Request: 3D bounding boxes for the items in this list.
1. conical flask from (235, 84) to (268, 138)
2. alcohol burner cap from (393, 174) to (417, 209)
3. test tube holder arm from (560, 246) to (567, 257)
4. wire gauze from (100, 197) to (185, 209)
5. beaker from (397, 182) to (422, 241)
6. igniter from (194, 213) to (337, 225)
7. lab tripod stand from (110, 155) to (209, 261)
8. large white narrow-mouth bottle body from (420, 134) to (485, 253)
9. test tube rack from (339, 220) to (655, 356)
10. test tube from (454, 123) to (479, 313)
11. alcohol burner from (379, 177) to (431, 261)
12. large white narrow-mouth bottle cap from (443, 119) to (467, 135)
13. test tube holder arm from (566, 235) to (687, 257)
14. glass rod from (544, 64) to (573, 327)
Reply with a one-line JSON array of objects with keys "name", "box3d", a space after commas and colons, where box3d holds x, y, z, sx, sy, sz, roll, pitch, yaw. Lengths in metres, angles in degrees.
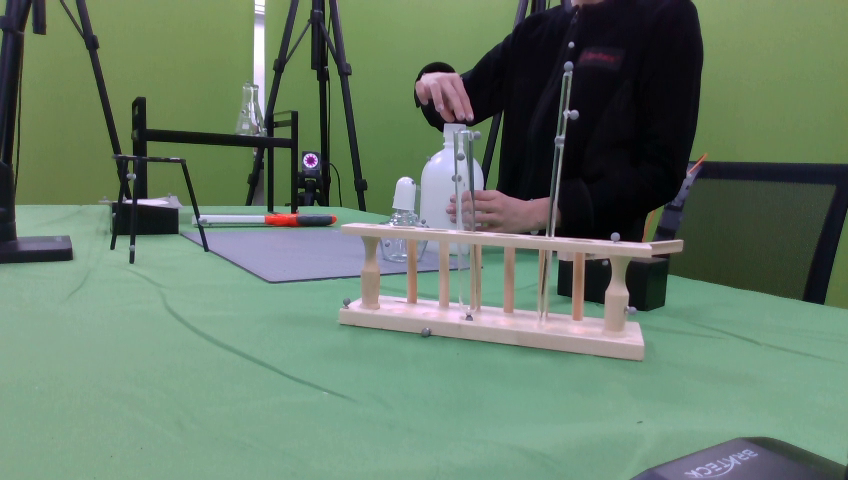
[{"name": "conical flask", "box3d": [-0.402, -0.299, 1.406, 0.075, 0.122, 0.075, 2, 7, 0]}, {"name": "alcohol burner cap", "box3d": [-0.025, -0.067, 0.834, 0.034, 0.048, 0.034, 8, 7, -1]}, {"name": "test tube holder arm", "box3d": [0.173, 0.007, 0.611, 0.088, 0.015, 0.010, -3, 9, -30]}, {"name": "wire gauze", "box3d": [-0.469, -0.062, 1.008, 0.126, 0.011, 0.121, -2, 8, -25]}, {"name": "beaker", "box3d": [-0.011, -0.051, 1.078, 0.074, 0.100, 0.083, -2, 9, -26]}, {"name": "igniter", "box3d": [-0.306, -0.042, 1.196, 0.278, 0.025, 0.057, -2, -2, -30]}, {"name": "lab tripod stand", "box3d": [-0.361, -0.046, 0.806, 0.148, 0.131, 0.148, 2, 5, 0]}, {"name": "large white narrow-mouth bottle body", "box3d": [0.046, -0.081, 0.956, 0.102, 0.194, 0.102, 2, 8, 0]}, {"name": "test tube rack", "box3d": [0.056, 0.032, 0.495, 0.242, 0.085, 0.067, 4, 7, 15]}, {"name": "test tube", "box3d": [0.034, -0.016, 0.477, 0.017, 0.150, 0.017, -2, 9, 1]}, {"name": "alcohol burner", "box3d": [-0.027, -0.031, 0.838, 0.078, 0.119, 0.078, 0, 6, 0]}, {"name": "large white narrow-mouth bottle cap", "box3d": [0.048, -0.175, 0.942, 0.038, 0.024, 0.037, 2, 8, 0]}, {"name": "test tube holder arm", "box3d": [0.215, 0.006, 0.630, 0.179, 0.015, 0.013, -3, 9, -31]}, {"name": "glass rod", "box3d": [0.101, -0.028, 0.453, 0.008, 0.199, 0.008, 1, 14, 0]}]
